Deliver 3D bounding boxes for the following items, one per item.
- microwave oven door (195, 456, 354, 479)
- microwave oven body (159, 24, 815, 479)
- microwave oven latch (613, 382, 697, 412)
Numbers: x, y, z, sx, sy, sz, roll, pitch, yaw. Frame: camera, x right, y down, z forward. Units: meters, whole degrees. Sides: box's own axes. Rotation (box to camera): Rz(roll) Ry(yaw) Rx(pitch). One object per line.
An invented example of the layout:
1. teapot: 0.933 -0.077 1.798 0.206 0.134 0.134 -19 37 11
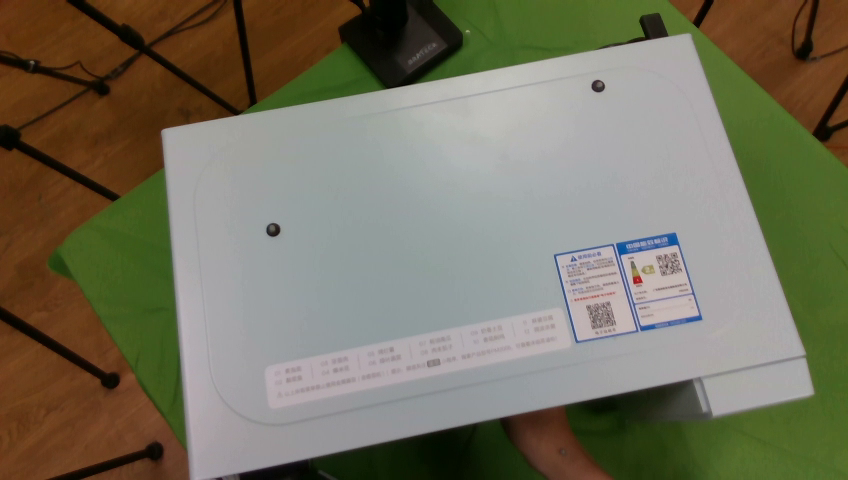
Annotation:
1. microwave oven door: 0.004 0.272 0.493 0.355 0.245 0.039 25 77 8
2. microwave oven body: 0.034 0.027 0.569 0.442 0.261 0.324 -11 75 -2
3. microwave oven latch: 0.239 0.159 0.629 0.079 0.029 0.030 -10 74 -1
